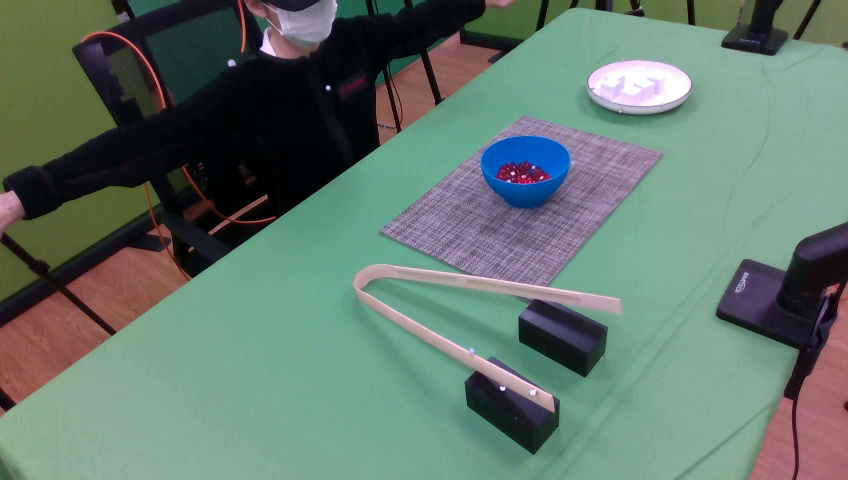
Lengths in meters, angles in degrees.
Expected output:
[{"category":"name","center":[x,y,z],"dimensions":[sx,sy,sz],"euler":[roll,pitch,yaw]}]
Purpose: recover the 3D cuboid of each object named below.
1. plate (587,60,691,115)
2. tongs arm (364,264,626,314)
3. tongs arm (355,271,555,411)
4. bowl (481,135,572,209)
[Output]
[{"category":"plate","center":[0.445,-0.313,1.263],"dimensions":[0.209,0.038,0.208],"euler":[-5,40,4]},{"category":"tongs arm","center":[0.079,0.065,0.828],"dimensions":[0.385,0.028,0.028],"euler":[6,44,32]},{"category":"tongs arm","center":[0.023,0.115,0.778],"dimensions":[0.051,0.027,0.381],"euler":[-39,38,-28]},{"category":"bowl","center":[0.172,-0.106,1.025],"dimensions":[0.151,0.077,0.150],"euler":[-4,40,4]}]
